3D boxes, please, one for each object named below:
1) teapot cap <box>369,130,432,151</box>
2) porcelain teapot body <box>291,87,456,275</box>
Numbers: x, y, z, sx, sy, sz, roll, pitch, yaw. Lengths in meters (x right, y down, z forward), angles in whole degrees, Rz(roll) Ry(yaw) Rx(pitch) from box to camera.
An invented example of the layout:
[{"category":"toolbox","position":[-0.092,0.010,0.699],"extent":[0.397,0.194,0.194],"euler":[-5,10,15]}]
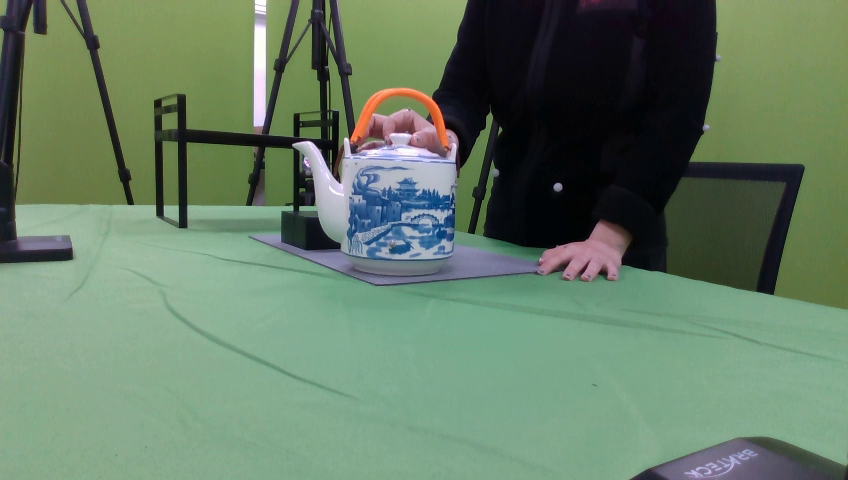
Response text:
[{"category":"teapot cap","position":[-0.030,-0.114,0.753],"extent":[0.085,0.044,0.085],"euler":[0,11,0]},{"category":"porcelain teapot body","position":[-0.061,-0.076,0.753],"extent":[0.206,0.225,0.145],"euler":[0,7,-12]}]
